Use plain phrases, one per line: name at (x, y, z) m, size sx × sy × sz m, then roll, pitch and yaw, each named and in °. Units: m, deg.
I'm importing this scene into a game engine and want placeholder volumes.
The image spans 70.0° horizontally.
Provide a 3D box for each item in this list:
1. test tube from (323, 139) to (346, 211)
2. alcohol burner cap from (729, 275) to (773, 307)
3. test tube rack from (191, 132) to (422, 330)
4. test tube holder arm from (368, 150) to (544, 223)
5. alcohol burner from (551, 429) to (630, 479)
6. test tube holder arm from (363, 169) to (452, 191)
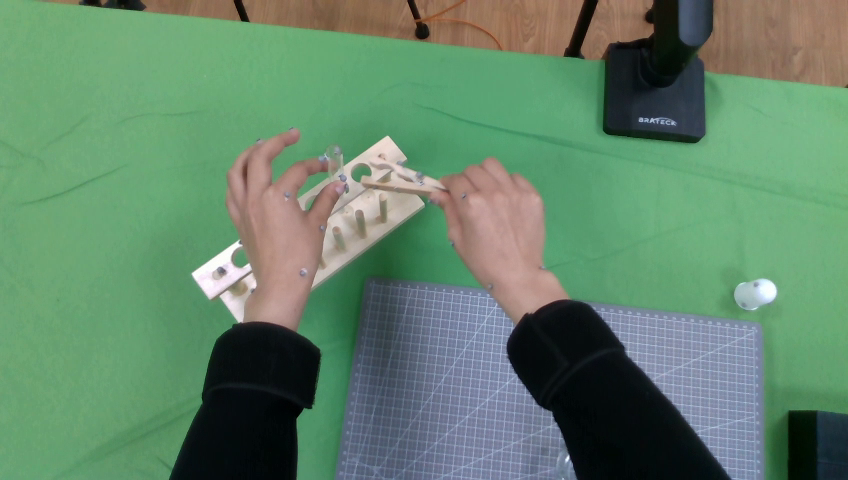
test tube at (-0.088, -0.060, 0.604) m, size 0.017 × 0.151 × 0.017 m, roll 2°, pitch 72°, yaw -5°
alcohol burner cap at (0.367, 0.055, 0.675) m, size 0.034 × 0.048 × 0.033 m, roll 1°, pitch 75°, yaw -2°
test tube rack at (-0.116, -0.008, 0.651) m, size 0.242 × 0.085 × 0.066 m, roll -37°, pitch 79°, yaw -10°
test tube holder arm at (0.028, -0.051, 0.569) m, size 0.177 × 0.015 × 0.013 m, roll 20°, pitch 85°, yaw 15°
alcohol burner at (0.166, 0.222, 0.585) m, size 0.078 × 0.119 × 0.077 m, roll 1°, pitch 74°, yaw -3°
test tube holder arm at (-0.015, -0.057, 0.580) m, size 0.087 × 0.015 × 0.010 m, roll 7°, pitch 81°, yaw 14°
